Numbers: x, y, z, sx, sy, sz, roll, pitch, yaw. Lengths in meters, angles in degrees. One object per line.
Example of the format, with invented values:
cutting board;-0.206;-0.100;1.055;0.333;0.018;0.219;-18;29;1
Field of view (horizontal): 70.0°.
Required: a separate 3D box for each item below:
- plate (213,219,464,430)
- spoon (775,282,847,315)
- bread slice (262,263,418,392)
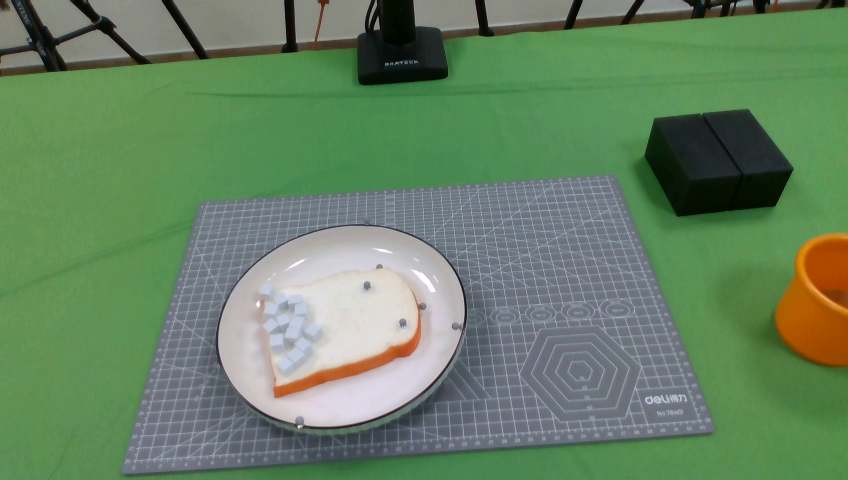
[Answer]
plate;-0.070;0.068;0.516;0.209;0.038;0.207;-1;48;2
spoon;0.364;0.033;0.451;0.041;0.193;0.022;-42;101;-34
bread slice;-0.072;0.065;0.522;0.132;0.019;0.103;-16;49;-9
